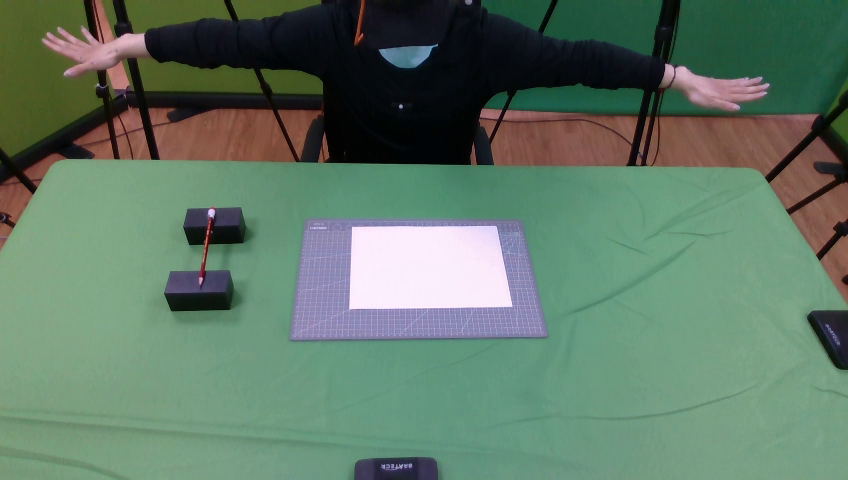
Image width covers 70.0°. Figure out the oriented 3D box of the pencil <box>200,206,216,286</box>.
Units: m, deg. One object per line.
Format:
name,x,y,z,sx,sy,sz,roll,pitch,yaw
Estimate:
pencil,-0.393,0.007,1.098,0.012,0.012,0.192,-3,48,-7
